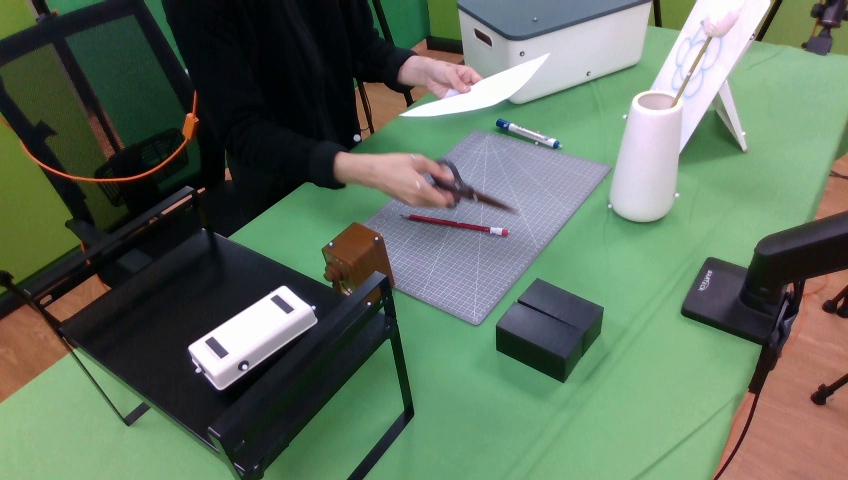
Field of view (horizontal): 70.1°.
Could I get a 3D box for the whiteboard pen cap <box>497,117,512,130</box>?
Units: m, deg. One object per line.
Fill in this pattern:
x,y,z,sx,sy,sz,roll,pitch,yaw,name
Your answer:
0.165,-0.235,1.226,0.033,0.018,0.018,33,54,31,whiteboard pen cap

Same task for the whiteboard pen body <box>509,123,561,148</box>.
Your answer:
0.209,-0.211,1.195,0.139,0.017,0.017,30,52,33,whiteboard pen body

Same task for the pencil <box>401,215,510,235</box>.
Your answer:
0.049,-0.027,1.007,0.193,0.012,0.012,10,43,21,pencil

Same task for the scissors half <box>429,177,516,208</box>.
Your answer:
0.063,-0.060,0.820,0.013,0.040,0.173,-22,23,-31,scissors half

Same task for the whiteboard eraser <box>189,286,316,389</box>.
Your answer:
-0.166,0.096,0.593,0.113,0.042,0.055,-36,47,-29,whiteboard eraser

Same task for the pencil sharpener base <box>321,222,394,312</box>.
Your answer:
-0.096,0.041,0.873,0.061,0.107,0.077,25,54,32,pencil sharpener base

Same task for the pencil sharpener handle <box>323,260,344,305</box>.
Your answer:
-0.131,0.062,0.839,0.035,0.068,0.031,29,55,28,pencil sharpener handle

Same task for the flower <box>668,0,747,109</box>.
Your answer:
0.354,-0.187,0.879,0.038,0.362,0.044,30,48,14,flower

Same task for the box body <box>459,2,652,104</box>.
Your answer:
0.291,-0.465,1.371,0.365,0.161,0.252,-22,42,-16,box body

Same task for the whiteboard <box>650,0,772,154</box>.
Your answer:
0.543,-0.298,1.076,0.144,0.305,0.216,12,40,-7,whiteboard

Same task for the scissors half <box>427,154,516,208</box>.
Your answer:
0.060,-0.078,0.811,0.013,0.040,0.173,-28,43,-28,scissors half

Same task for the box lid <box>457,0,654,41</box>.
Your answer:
0.285,-0.522,1.323,0.373,0.015,0.261,-22,43,-16,box lid

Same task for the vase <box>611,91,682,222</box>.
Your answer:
0.348,-0.125,0.935,0.098,0.201,0.097,-3,40,3,vase
